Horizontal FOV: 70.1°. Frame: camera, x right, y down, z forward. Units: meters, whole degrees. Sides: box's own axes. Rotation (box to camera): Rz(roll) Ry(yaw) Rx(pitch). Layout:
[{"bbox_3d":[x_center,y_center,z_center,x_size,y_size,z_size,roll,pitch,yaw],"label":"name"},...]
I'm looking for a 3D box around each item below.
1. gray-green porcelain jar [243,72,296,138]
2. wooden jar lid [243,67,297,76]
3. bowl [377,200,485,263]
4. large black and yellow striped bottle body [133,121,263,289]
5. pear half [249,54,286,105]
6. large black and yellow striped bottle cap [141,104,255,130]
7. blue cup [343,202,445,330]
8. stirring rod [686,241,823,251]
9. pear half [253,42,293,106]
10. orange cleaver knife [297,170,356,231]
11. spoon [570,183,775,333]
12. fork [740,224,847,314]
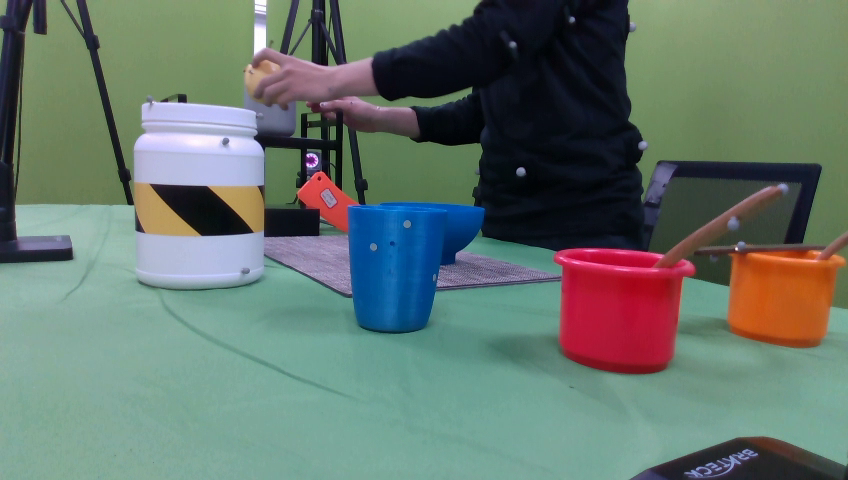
[{"bbox_3d":[-0.322,-0.279,1.263,0.106,0.126,0.106,3,8,0],"label":"gray-green porcelain jar"},{"bbox_3d":[-0.319,-0.342,1.254,0.108,0.020,0.108,3,8,0],"label":"wooden jar lid"},{"bbox_3d":[0.008,-0.012,0.841,0.151,0.077,0.151,2,7,0],"label":"bowl"},{"bbox_3d":[-0.243,-0.048,0.659,0.131,0.184,0.130,2,7,0],"label":"large black and yellow striped bottle body"},{"bbox_3d":[-0.276,-0.279,1.053,0.070,0.088,0.031,18,20,2],"label":"pear half"},{"bbox_3d":[-0.241,-0.131,0.650,0.115,0.019,0.115,3,8,0],"label":"large black and yellow striped bottle cap"},{"bbox_3d":[-0.027,0.021,0.510,0.093,0.100,0.092,3,5,0],"label":"blue cup"},{"bbox_3d":[0.290,0.005,0.525,0.177,0.006,0.014,-1,5,-26],"label":"stirring rod"},{"bbox_3d":[-0.266,-0.298,1.083,0.076,0.109,0.056,19,20,3],"label":"pear half"},{"bbox_3d":[-0.150,-0.058,1.170,0.212,0.077,0.012,33,-15,-32],"label":"orange cleaver knife"},{"bbox_3d":[0.160,0.020,0.413,0.042,0.021,0.193,0,-36,-24],"label":"spoon"},{"bbox_3d":[0.323,0.013,0.485,0.028,0.018,0.207,9,-38,-5],"label":"fork"}]
